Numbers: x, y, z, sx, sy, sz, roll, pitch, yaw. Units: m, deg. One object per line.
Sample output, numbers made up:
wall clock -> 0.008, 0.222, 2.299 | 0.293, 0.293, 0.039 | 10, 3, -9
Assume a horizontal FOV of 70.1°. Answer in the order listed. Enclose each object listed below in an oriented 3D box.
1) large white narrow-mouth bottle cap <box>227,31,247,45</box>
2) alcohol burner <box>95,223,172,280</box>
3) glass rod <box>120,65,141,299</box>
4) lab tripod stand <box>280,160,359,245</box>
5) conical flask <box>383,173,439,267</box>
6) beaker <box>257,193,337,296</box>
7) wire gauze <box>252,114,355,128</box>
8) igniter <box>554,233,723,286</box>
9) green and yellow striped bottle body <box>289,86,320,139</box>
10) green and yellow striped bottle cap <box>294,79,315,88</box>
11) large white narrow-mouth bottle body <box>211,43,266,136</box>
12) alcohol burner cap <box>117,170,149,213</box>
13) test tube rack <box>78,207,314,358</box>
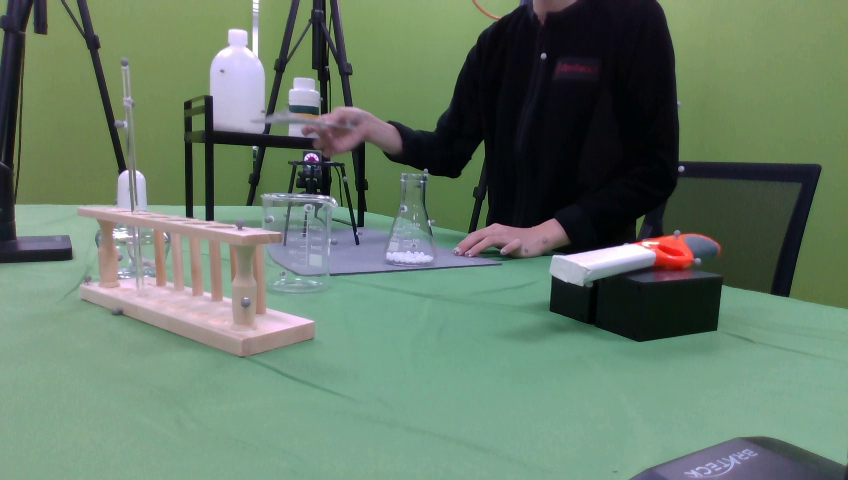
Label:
large white narrow-mouth bottle cap -> -0.361, -0.388, 1.165 | 0.038, 0.024, 0.037 | 1, 7, 0
alcohol burner -> -0.320, -0.016, 0.667 | 0.078, 0.119, 0.078 | 0, 7, 0
glass rod -> -0.249, -0.047, 0.513 | 0.008, 0.199, 0.008 | -1, 4, 0
lab tripod stand -> -0.176, -0.062, 0.973 | 0.148, 0.131, 0.148 | 0, 7, 0
conical flask -> -0.016, -0.028, 0.808 | 0.075, 0.122, 0.075 | 2, 8, 0
beaker -> -0.130, 0.003, 0.628 | 0.084, 0.100, 0.074 | 5, 8, 15
wire gauze -> -0.186, -0.181, 0.934 | 0.126, 0.011, 0.121 | -1, 7, -35
igniter -> 0.214, 0.015, 0.570 | 0.278, 0.025, 0.057 | -5, 22, -44
green and yellow striped bottle body -> -0.250, -0.272, 1.261 | 0.063, 0.119, 0.063 | 3, 8, 0
green and yellow striped bottle cap -> -0.248, -0.323, 1.256 | 0.045, 0.020, 0.045 | 3, 9, 0
large white narrow-mouth bottle body -> -0.361, -0.302, 1.176 | 0.102, 0.194, 0.102 | 1, 7, 0
alcohol burner cap -> -0.320, -0.052, 0.661 | 0.034, 0.048, 0.034 | -3, 0, 0
test tube rack -> -0.196, 0.023, 0.500 | 0.241, 0.085, 0.067 | 8, 8, 37
